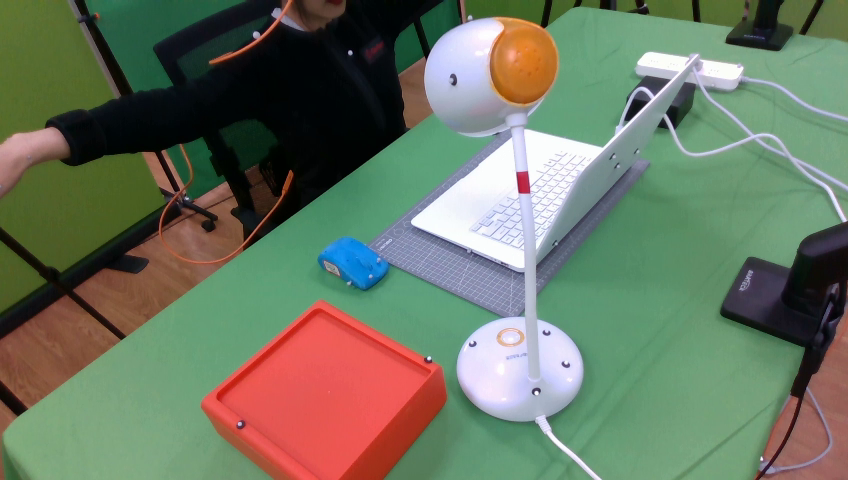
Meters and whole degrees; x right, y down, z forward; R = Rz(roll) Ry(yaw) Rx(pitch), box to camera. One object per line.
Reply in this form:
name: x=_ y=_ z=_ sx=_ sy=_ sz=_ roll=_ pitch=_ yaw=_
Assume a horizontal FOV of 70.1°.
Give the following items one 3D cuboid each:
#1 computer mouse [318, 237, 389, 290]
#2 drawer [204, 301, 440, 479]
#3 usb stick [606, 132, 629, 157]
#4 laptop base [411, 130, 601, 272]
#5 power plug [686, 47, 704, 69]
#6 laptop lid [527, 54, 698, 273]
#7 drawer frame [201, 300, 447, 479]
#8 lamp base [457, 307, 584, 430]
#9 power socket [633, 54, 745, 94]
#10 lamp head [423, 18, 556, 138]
computer mouse: x=-0.113 y=0.033 z=0.959 sx=0.116 sy=0.041 sz=0.063 roll=28 pitch=50 yaw=31
drawer: x=-0.119 y=0.193 z=0.735 sx=0.210 sy=0.073 sz=0.195 roll=23 pitch=49 yaw=32
usb stick: x=0.353 y=-0.174 z=1.109 sx=0.021 sy=0.027 sz=0.059 roll=23 pitch=49 yaw=32
laptop base: x=0.175 y=-0.083 z=1.054 sx=0.233 sy=0.023 sz=0.355 roll=22 pitch=49 yaw=36
power plug: x=0.564 y=-0.384 z=1.248 sx=0.035 sy=0.073 sz=0.052 roll=22 pitch=71 yaw=15
laptop lid: x=0.281 y=-0.113 z=0.896 sx=0.013 sy=0.242 sz=0.358 roll=38 pitch=55 yaw=17
drawer frame: x=-0.117 y=0.193 z=0.733 sx=0.212 sy=0.083 sz=0.202 roll=23 pitch=48 yaw=32
lamp base: x=0.115 y=0.108 z=0.713 sx=0.161 sy=0.181 sz=0.178 roll=-17 pitch=43 yaw=-8
power socket: x=0.563 y=-0.358 z=1.295 sx=0.225 sy=0.033 sz=0.072 roll=21 pitch=50 yaw=30
lamp head: x=0.069 y=-0.151 z=0.563 sx=0.113 sy=0.113 sz=0.122 roll=-21 pitch=18 yaw=-13
